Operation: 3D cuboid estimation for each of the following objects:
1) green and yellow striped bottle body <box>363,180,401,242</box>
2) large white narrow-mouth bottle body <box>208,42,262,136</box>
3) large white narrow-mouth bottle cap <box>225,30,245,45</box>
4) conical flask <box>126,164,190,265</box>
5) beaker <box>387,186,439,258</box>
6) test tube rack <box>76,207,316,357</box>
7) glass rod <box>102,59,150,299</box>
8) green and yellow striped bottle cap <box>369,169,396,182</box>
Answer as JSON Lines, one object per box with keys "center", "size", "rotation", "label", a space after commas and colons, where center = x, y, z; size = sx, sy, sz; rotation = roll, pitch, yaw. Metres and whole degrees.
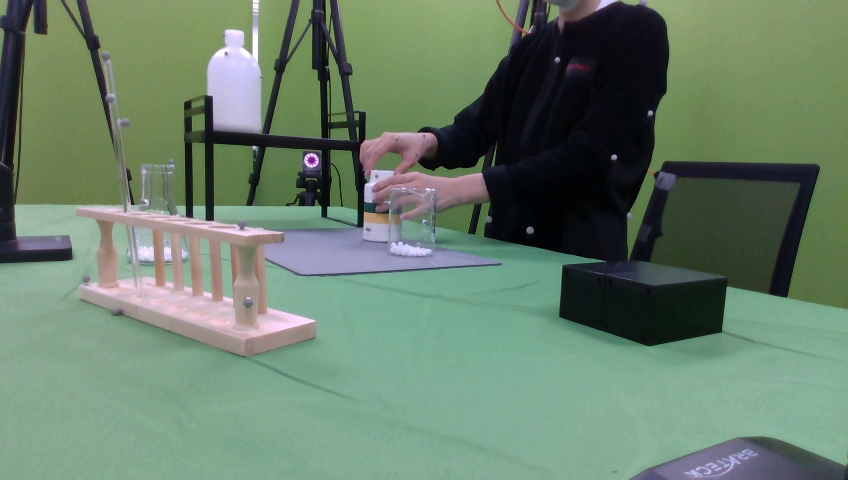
{"center": [-0.071, -0.059, 1.035], "size": [0.063, 0.119, 0.063], "rotation": [3, 7, 0], "label": "green and yellow striped bottle body"}
{"center": [-0.368, -0.304, 1.181], "size": [0.102, 0.194, 0.101], "rotation": [2, 9, 0], "label": "large white narrow-mouth bottle body"}
{"center": [-0.365, -0.390, 1.166], "size": [0.038, 0.024, 0.037], "rotation": [3, 9, 0], "label": "large white narrow-mouth bottle cap"}
{"center": [-0.332, -0.033, 0.756], "size": [0.075, 0.122, 0.075], "rotation": [2, 7, 0], "label": "conical flask"}
{"center": [-0.015, -0.027, 0.885], "size": [0.074, 0.100, 0.083], "rotation": [-1, 8, -20], "label": "beaker"}
{"center": [-0.196, 0.023, 0.500], "size": [0.241, 0.085, 0.067], "rotation": [8, 9, 36], "label": "test tube rack"}
{"center": [-0.243, -0.045, 0.496], "size": [0.008, 0.199, 0.008], "rotation": [-4, 12, 1], "label": "glass rod"}
{"center": [-0.070, -0.110, 1.027], "size": [0.045, 0.020, 0.045], "rotation": [3, 6, 0], "label": "green and yellow striped bottle cap"}
